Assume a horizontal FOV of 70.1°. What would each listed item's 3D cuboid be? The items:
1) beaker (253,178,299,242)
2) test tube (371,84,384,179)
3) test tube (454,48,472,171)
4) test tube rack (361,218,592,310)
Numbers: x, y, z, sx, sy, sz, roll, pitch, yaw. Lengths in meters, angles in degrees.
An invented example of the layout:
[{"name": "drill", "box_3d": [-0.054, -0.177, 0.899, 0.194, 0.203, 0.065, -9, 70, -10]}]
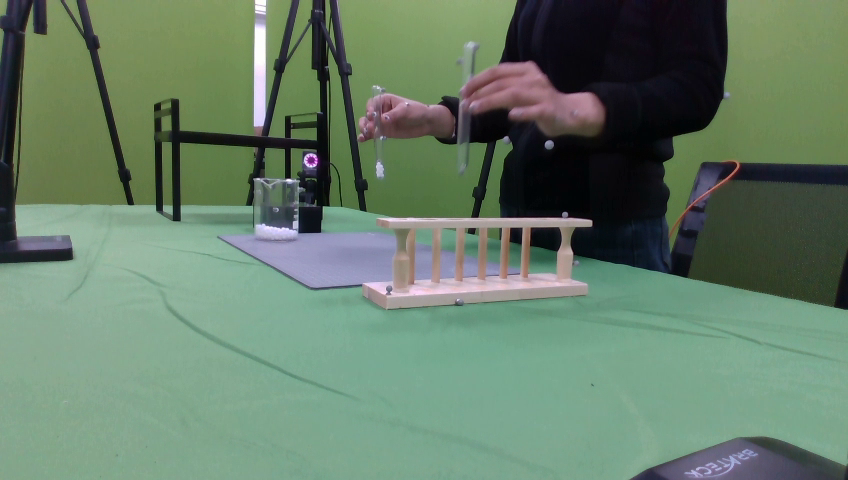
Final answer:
[{"name": "beaker", "box_3d": [-0.243, -0.050, 0.990, 0.074, 0.100, 0.084, 2, 9, 1]}, {"name": "test tube", "box_3d": [-0.074, -0.174, 0.973, 0.017, 0.150, 0.017, -2, 4, 0]}, {"name": "test tube", "box_3d": [0.048, -0.161, 0.748, 0.017, 0.150, 0.017, 3, 4, 0]}, {"name": "test tube rack", "box_3d": [0.060, 0.018, 0.640, 0.243, 0.085, 0.066, -1, 8, -27]}]
